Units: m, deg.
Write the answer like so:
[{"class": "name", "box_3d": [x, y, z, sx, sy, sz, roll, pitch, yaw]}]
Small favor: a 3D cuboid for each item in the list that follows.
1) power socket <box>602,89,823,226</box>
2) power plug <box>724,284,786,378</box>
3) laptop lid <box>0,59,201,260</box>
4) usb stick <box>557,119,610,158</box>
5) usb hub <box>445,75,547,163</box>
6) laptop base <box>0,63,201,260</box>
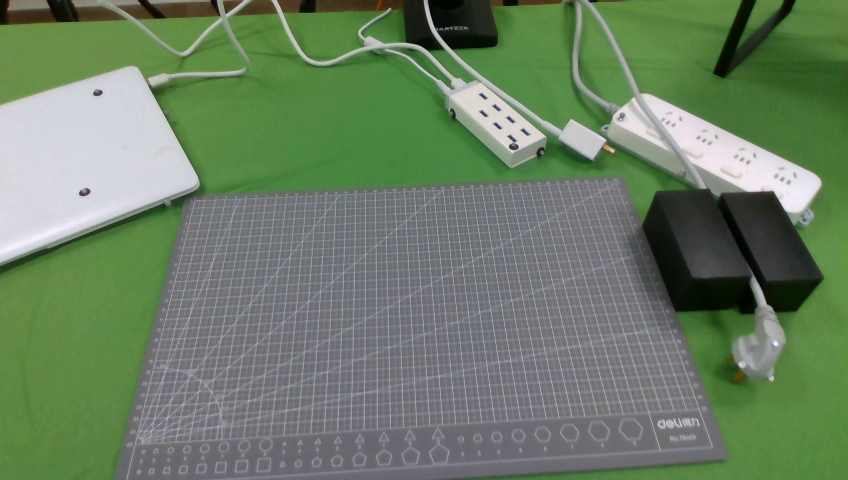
[{"class": "power socket", "box_3d": [0.297, -0.091, 0.633, 0.225, 0.033, 0.072, 36, 59, 26]}, {"class": "power plug", "box_3d": [0.267, 0.078, 0.490, 0.035, 0.053, 0.072, 35, 43, 2]}, {"class": "laptop lid", "box_3d": [-0.432, -0.068, 0.609, 0.357, 0.013, 0.239, -24, 58, -19]}, {"class": "usb stick", "box_3d": [0.175, -0.107, 0.650, 0.059, 0.027, 0.021, 26, 10, 3]}, {"class": "usb hub", "box_3d": [0.078, -0.137, 0.675, 0.049, 0.025, 0.124, -28, 56, -20]}, {"class": "laptop base", "box_3d": [-0.433, -0.062, 0.619, 0.355, 0.023, 0.233, -26, 59, -20]}]
